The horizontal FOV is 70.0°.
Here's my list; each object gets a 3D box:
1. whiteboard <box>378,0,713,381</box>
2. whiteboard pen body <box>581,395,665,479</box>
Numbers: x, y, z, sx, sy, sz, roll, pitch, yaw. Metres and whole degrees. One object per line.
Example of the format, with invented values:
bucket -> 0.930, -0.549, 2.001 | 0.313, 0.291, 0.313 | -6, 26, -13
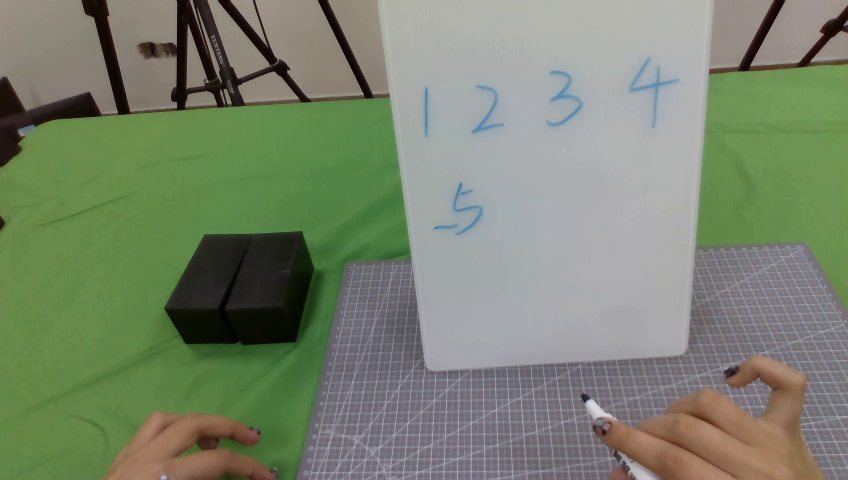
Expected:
whiteboard -> 0.096, -0.057, 0.505 | 0.217, 0.307, 0.143 | -4, 23, 5
whiteboard pen body -> 0.127, 0.137, 0.336 | 0.017, 0.017, 0.139 | -19, 39, -12
